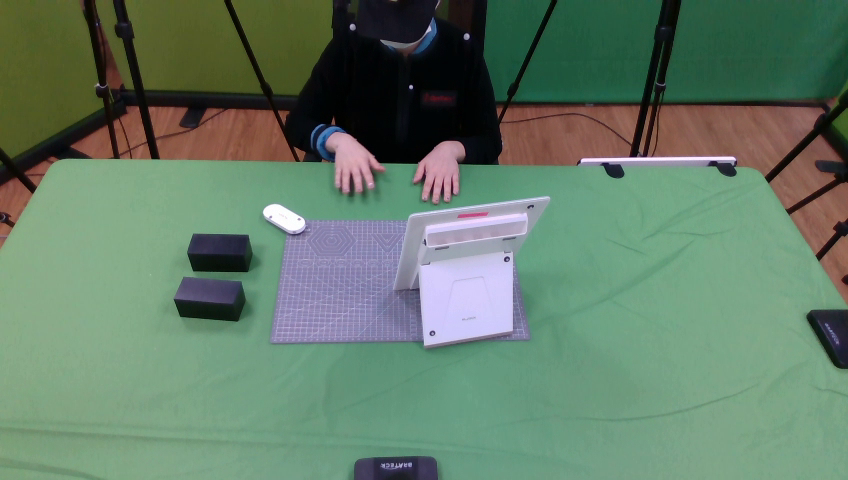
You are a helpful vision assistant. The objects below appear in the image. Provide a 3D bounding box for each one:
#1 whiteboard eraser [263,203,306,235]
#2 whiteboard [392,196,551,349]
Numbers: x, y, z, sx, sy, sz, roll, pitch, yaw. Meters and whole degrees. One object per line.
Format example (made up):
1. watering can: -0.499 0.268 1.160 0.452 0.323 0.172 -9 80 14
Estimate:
1. whiteboard eraser: -0.281 -0.044 1.216 0.101 0.019 0.041 29 53 25
2. whiteboard: 0.077 0.071 0.977 0.217 0.306 0.143 -7 67 -11
